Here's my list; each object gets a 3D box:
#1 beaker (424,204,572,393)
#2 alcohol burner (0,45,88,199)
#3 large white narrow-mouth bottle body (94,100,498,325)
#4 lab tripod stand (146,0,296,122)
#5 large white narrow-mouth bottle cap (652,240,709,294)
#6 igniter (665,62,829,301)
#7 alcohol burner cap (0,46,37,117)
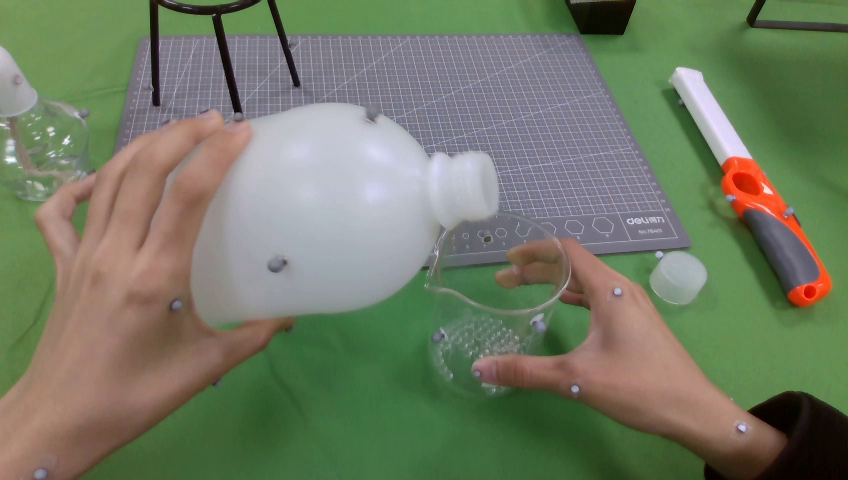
[{"bbox_3d":[0.037,0.041,0.363,0.084,0.101,0.073,-15,51,-18],"label":"beaker"},{"bbox_3d":[-0.284,-0.086,0.424,0.078,0.120,0.077,4,50,-5],"label":"alcohol burner"},{"bbox_3d":[-0.059,-0.014,0.300,0.194,0.103,0.101,-8,47,24],"label":"large white narrow-mouth bottle body"},{"bbox_3d":[-0.156,-0.145,0.470,0.148,0.132,0.147,5,52,-6],"label":"lab tripod stand"},{"bbox_3d":[0.194,0.021,0.459,0.038,0.024,0.037,3,51,-4],"label":"large white narrow-mouth bottle cap"},{"bbox_3d":[0.274,-0.064,0.531,0.057,0.025,0.273,5,51,-17],"label":"igniter"},{"bbox_3d":[-0.281,-0.107,0.395,0.034,0.048,0.033,3,58,-4],"label":"alcohol burner cap"}]
